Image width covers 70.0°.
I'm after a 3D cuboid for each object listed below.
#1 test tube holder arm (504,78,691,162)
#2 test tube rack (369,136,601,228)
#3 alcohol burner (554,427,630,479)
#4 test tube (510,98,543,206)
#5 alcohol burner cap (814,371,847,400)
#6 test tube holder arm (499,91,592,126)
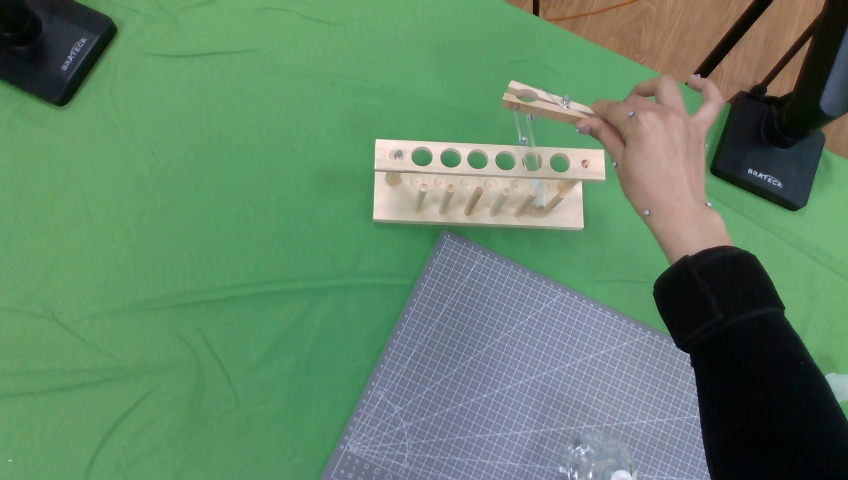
[{"bbox_3d":[0.155,-0.111,0.551,0.177,0.015,0.013,25,78,15],"label":"test tube holder arm"},{"bbox_3d":[0.062,-0.060,0.665,0.243,0.085,0.066,2,76,-5],"label":"test tube rack"},{"bbox_3d":[0.170,0.225,0.591,0.078,0.119,0.077,1,78,-5],"label":"alcohol burner"},{"bbox_3d":[0.108,-0.086,0.631,0.017,0.152,0.017,-9,52,12],"label":"test tube"},{"bbox_3d":[0.465,0.161,0.674,0.034,0.048,0.033,1,75,-4],"label":"alcohol burner cap"},{"bbox_3d":[0.112,-0.122,0.560,0.087,0.015,0.010,16,75,13],"label":"test tube holder arm"}]
